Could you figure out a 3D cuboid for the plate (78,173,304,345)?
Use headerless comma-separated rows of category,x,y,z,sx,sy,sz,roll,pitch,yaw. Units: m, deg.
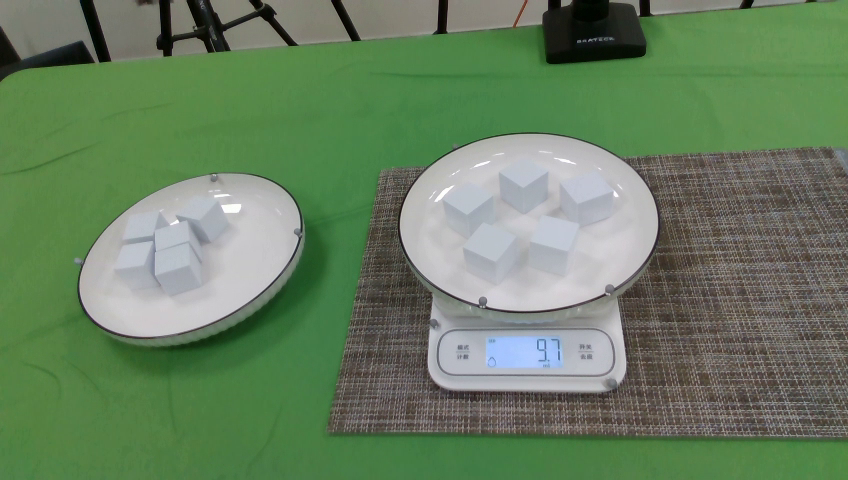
plate,-0.213,0.017,0.573,0.209,0.038,0.207,-5,46,5

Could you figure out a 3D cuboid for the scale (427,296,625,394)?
scale,0.082,0.033,0.506,0.148,0.032,0.199,-1,47,9

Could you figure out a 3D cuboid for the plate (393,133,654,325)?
plate,0.079,-0.011,0.502,0.207,0.039,0.205,-4,47,5
